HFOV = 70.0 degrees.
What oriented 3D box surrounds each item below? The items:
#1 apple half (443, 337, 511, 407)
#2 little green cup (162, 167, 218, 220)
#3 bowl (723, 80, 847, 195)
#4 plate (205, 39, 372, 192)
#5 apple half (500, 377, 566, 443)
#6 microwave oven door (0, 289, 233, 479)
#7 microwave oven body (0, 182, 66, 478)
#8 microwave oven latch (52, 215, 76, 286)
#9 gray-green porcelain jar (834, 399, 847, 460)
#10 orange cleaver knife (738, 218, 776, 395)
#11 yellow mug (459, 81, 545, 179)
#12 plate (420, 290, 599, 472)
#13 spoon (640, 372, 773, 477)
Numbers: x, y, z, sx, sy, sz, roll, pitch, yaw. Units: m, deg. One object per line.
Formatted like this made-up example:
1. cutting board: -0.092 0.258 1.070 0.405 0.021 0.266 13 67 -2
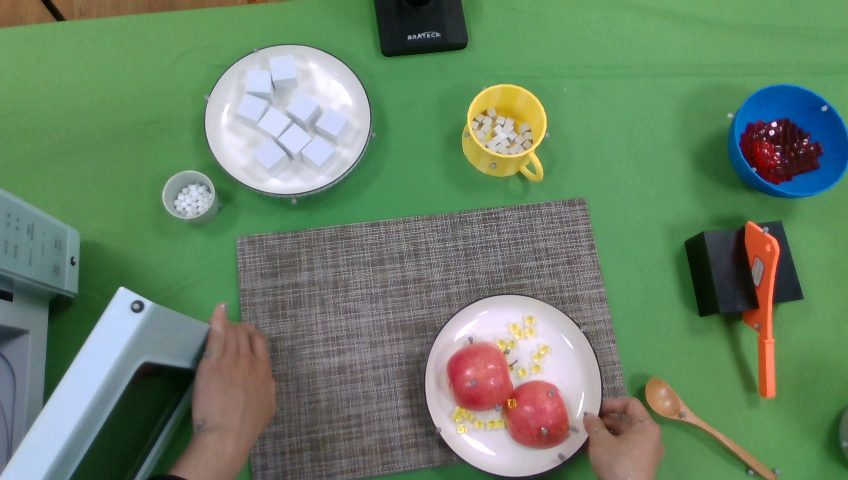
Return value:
1. apple half: 0.061 0.152 0.698 0.075 0.053 0.080 -10 78 -2
2. little green cup: -0.285 -0.054 0.744 0.061 0.039 0.061 1 77 -4
3. bowl: 0.451 -0.121 0.786 0.151 0.077 0.150 1 77 -3
4. plate: -0.171 -0.157 0.778 0.208 0.039 0.206 1 77 -3
5. apple half: 0.128 0.197 0.700 0.081 0.033 0.081 1 72 -1
6. microwave oven door: -0.313 0.220 0.556 0.039 0.245 0.354 27 76 5
7. microwave oven body: -0.552 0.170 0.558 0.326 0.261 0.439 -3 77 -5
8. microwave oven latch: -0.423 0.013 0.702 0.030 0.029 0.079 -1 77 -4
9. gray-green porcelain jar: 0.548 0.222 0.685 0.106 0.127 0.105 1 76 -3
10. orange cleaver knife: 0.400 0.080 0.733 0.012 0.077 0.212 -6 100 -1
11. yellow mug: 0.108 -0.132 0.774 0.100 0.064 0.130 -35 82 -11
12. plate: 0.098 0.163 0.713 0.209 0.038 0.208 1 76 -3
13. spoon: 0.338 0.225 0.725 0.193 0.022 0.041 35 60 5
